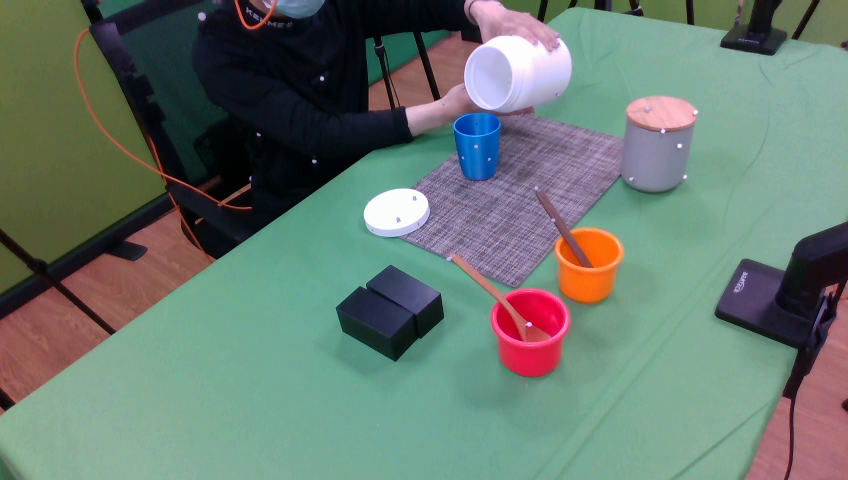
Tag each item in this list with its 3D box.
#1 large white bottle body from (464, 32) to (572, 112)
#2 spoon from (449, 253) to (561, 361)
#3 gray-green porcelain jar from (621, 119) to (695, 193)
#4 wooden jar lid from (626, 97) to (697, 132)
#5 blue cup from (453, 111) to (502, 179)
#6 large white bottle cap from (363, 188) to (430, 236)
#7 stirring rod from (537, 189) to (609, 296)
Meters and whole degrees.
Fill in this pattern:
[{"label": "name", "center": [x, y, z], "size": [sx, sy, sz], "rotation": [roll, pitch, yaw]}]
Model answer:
[{"label": "large white bottle body", "center": [0.171, -0.306, 1.105], "size": [0.129, 0.131, 0.186], "rotation": [27, 34, 34]}, {"label": "spoon", "center": [0.103, 0.083, 0.770], "size": [0.194, 0.021, 0.042], "rotation": [47, 52, -7]}, {"label": "gray-green porcelain jar", "center": [0.389, -0.152, 1.016], "size": [0.106, 0.127, 0.105], "rotation": [-4, 40, 4]}, {"label": "wooden jar lid", "center": [0.382, -0.198, 0.976], "size": [0.108, 0.021, 0.108], "rotation": [-2, 40, 3]}, {"label": "blue cup", "center": [0.097, -0.166, 1.089], "size": [0.092, 0.100, 0.092], "rotation": [-3, 41, 3]}, {"label": "large white bottle cap", "center": [-0.048, -0.050, 1.040], "size": [0.115, 0.018, 0.114], "rotation": [-7, 40, 6]}, {"label": "stirring rod", "center": [0.210, 0.003, 0.855], "size": [0.014, 0.006, 0.176], "rotation": [-32, 89, -30]}]
